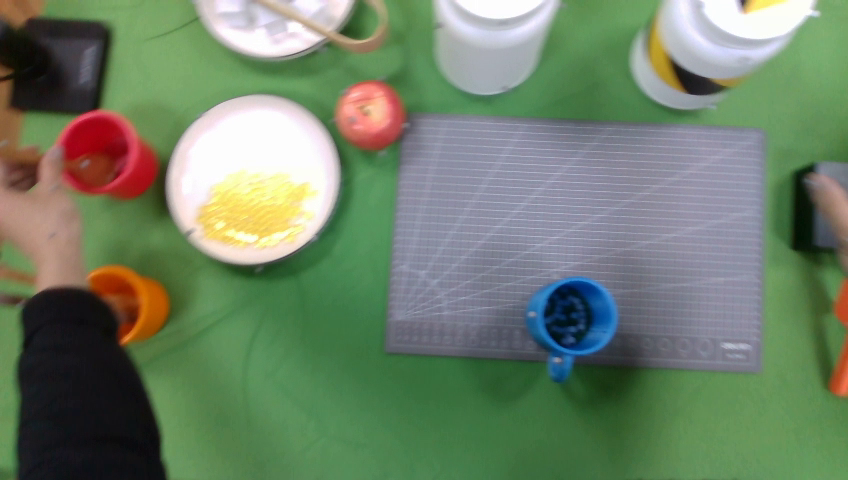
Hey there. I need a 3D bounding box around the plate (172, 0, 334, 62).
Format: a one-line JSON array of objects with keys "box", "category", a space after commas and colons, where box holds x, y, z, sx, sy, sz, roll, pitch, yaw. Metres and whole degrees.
[{"box": [-0.211, -0.323, 0.768, 0.208, 0.039, 0.207, 0, 84, 1], "category": "plate"}]

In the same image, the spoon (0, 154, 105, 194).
[{"box": [-0.412, -0.078, 0.654, 0.021, 0.194, 0.041, 7, 89, 4], "category": "spoon"}]

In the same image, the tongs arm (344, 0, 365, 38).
[{"box": [-0.202, -0.387, 0.744, 0.386, 0.028, 0.028, 44, 80, 7], "category": "tongs arm"}]

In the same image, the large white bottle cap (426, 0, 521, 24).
[{"box": [0.049, -0.271, 0.598, 0.115, 0.018, 0.114, 0, 84, 2], "category": "large white bottle cap"}]

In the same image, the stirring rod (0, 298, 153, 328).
[{"box": [-0.394, 0.081, 0.675, 0.178, 0.006, 0.014, 15, 70, -38], "category": "stirring rod"}]

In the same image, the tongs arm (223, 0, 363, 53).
[{"box": [-0.251, -0.320, 0.736, 0.384, 0.026, 0.050, 30, 82, 6], "category": "tongs arm"}]

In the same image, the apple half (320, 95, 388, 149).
[{"box": [-0.081, -0.137, 0.729, 0.081, 0.074, 0.053, -12, 88, -3], "category": "apple half"}]

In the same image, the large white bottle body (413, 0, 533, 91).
[{"box": [0.053, -0.260, 0.683, 0.130, 0.185, 0.130, 0, 83, 2], "category": "large white bottle body"}]

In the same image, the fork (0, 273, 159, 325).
[{"box": [-0.402, 0.061, 0.675, 0.209, 0.018, 0.028, 24, 84, -40], "category": "fork"}]

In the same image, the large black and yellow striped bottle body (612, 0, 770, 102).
[{"box": [0.297, -0.245, 0.677, 0.131, 0.184, 0.130, 0, 83, 2], "category": "large black and yellow striped bottle body"}]

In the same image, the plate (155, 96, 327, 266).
[{"box": [-0.220, -0.071, 0.742, 0.209, 0.038, 0.208, 0, 84, 2], "category": "plate"}]

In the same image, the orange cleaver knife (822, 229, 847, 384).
[{"box": [0.481, 0.065, 0.689, 0.012, 0.076, 0.212, 1, 115, 1], "category": "orange cleaver knife"}]

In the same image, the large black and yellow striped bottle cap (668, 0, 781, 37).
[{"box": [0.294, -0.257, 0.593, 0.115, 0.019, 0.114, 0, 85, 0], "category": "large black and yellow striped bottle cap"}]

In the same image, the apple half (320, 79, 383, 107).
[{"box": [-0.089, -0.175, 0.731, 0.081, 0.081, 0.033, -13, 88, 0], "category": "apple half"}]

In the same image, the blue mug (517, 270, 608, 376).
[{"box": [0.149, 0.094, 0.681, 0.082, 0.106, 0.116, 10, 84, 3], "category": "blue mug"}]
